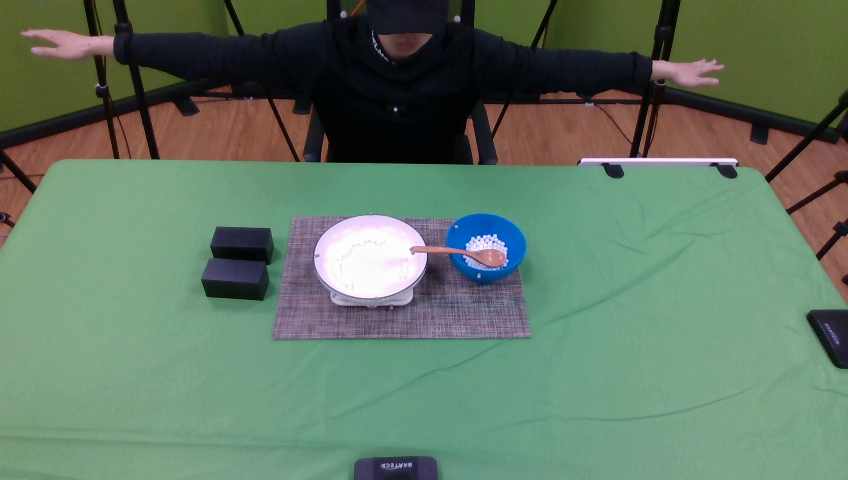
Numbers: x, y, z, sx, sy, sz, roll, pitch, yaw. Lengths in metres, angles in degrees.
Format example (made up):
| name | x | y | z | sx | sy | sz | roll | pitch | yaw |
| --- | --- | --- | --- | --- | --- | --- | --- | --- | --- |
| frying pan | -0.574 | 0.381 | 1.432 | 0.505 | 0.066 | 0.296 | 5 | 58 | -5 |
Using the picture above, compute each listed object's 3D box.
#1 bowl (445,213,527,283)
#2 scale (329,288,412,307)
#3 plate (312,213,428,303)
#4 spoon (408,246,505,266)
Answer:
| name | x | y | z | sx | sy | sz | roll | pitch | yaw |
| --- | --- | --- | --- | --- | --- | --- | --- | --- | --- |
| bowl | 0.111 | 0.028 | 1.137 | 0.151 | 0.077 | 0.150 | 2 | 46 | -2 |
| scale | -0.098 | 0.042 | 1.139 | 0.149 | 0.032 | 0.199 | 1 | 46 | -4 |
| plate | -0.097 | 0.036 | 1.100 | 0.209 | 0.038 | 0.208 | 2 | 46 | -2 |
| spoon | 0.061 | 0.023 | 1.091 | 0.194 | 0.022 | 0.041 | 9 | 49 | -27 |
